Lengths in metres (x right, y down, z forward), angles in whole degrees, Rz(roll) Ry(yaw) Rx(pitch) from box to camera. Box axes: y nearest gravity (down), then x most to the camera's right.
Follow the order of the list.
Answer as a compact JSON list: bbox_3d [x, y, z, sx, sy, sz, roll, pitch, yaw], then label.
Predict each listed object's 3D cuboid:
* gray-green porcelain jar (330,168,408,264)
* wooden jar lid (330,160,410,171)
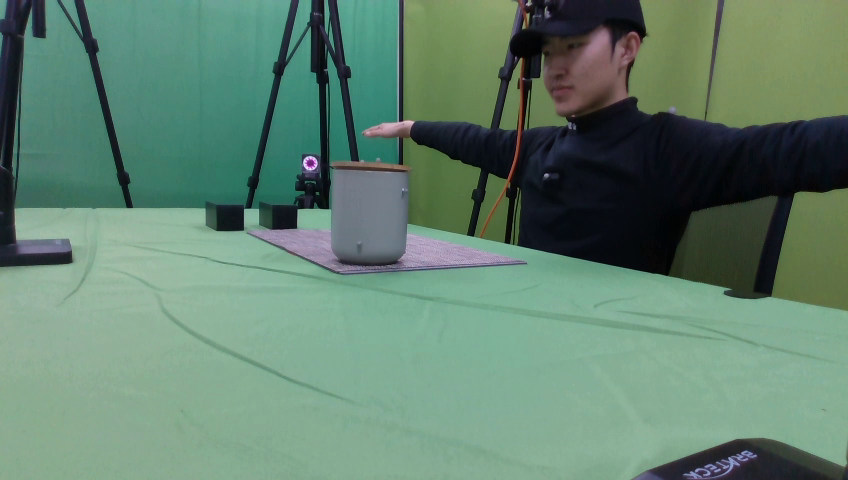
[{"bbox_3d":[-0.075,-0.035,0.833,0.106,0.126,0.106,2,7,0],"label":"gray-green porcelain jar"},{"bbox_3d":[-0.074,-0.096,0.825,0.108,0.020,0.108,3,3,0],"label":"wooden jar lid"}]
